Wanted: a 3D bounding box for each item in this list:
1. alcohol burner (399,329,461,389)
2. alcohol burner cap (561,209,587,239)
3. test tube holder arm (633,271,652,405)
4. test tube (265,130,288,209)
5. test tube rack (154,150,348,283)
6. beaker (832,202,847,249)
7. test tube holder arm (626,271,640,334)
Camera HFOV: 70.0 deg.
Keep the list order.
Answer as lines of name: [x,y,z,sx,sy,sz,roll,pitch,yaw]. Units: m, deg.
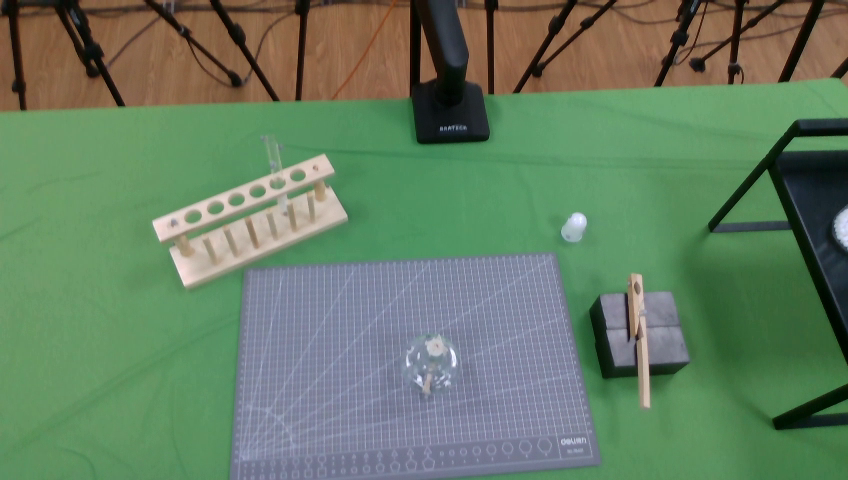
alcohol burner: [0.009,0.141,0.747,0.078,0.120,0.077,2,62,-4]
alcohol burner cap: [0.225,-0.026,0.898,0.034,0.048,0.033,1,61,-2]
test tube holder arm: [0.279,0.122,0.780,0.013,0.015,0.177,3,62,-1]
test tube: [-0.198,-0.091,0.822,0.017,0.151,0.017,3,56,-4]
test tube rack: [-0.232,-0.033,0.844,0.242,0.086,0.066,-25,65,-16]
beaker: [0.521,-0.031,0.682,0.084,0.101,0.073,-15,63,-11]
test tube holder arm: [0.277,0.082,0.800,0.010,0.015,0.087,5,62,1]
